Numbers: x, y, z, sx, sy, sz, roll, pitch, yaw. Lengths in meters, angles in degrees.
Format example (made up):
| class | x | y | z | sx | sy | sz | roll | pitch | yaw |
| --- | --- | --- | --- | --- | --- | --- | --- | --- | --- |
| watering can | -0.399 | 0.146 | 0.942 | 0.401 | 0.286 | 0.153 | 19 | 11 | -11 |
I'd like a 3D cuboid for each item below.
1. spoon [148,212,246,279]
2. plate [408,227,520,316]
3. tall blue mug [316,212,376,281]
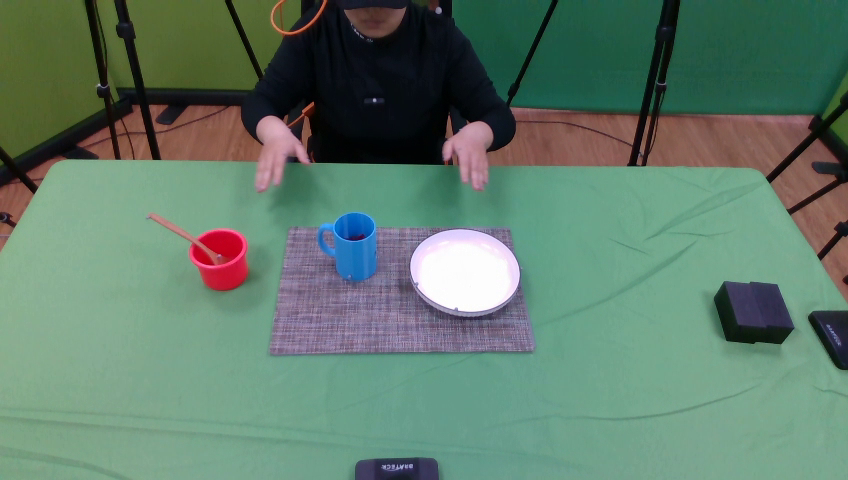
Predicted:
| class | x | y | z | sx | sy | sz | roll | pitch | yaw |
| --- | --- | --- | --- | --- | --- | --- | --- | --- | --- |
| spoon | -0.400 | 0.009 | 1.076 | 0.194 | 0.021 | 0.041 | 42 | 37 | -25 |
| plate | 0.073 | 0.062 | 1.128 | 0.208 | 0.039 | 0.206 | 2 | 46 | -2 |
| tall blue mug | -0.142 | 0.014 | 1.109 | 0.107 | 0.108 | 0.077 | -5 | 47 | -8 |
